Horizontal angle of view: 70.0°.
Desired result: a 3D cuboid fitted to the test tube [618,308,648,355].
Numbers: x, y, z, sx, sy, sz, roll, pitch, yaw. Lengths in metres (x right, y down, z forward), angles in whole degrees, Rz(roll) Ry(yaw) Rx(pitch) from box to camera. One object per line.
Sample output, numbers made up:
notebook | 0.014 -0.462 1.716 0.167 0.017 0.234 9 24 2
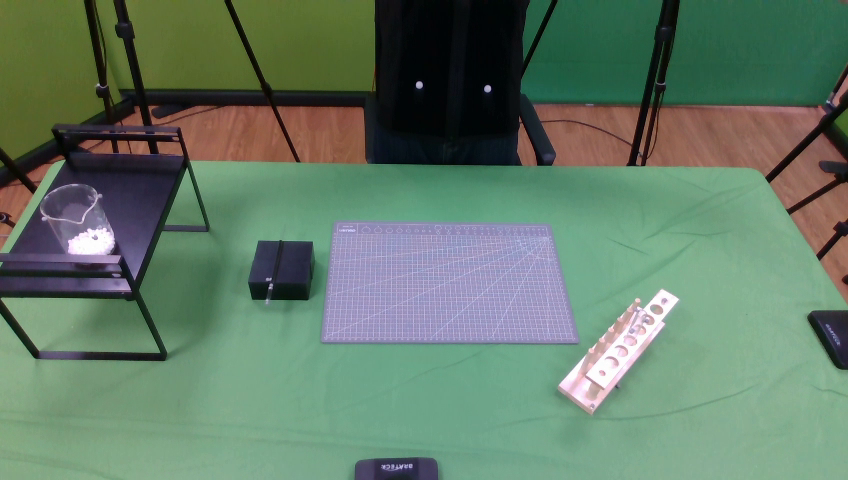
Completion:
test tube | 0.327 0.154 0.956 0.017 0.151 0.017 -1 50 1

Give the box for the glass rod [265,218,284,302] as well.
glass rod | -0.267 0.031 1.084 0.008 0.008 0.198 1 47 -3

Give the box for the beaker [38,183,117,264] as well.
beaker | -0.494 -0.019 0.874 0.074 0.101 0.083 -29 55 -27

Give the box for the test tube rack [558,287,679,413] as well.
test tube rack | 0.326 0.170 1.009 0.066 0.085 0.242 36 54 27
